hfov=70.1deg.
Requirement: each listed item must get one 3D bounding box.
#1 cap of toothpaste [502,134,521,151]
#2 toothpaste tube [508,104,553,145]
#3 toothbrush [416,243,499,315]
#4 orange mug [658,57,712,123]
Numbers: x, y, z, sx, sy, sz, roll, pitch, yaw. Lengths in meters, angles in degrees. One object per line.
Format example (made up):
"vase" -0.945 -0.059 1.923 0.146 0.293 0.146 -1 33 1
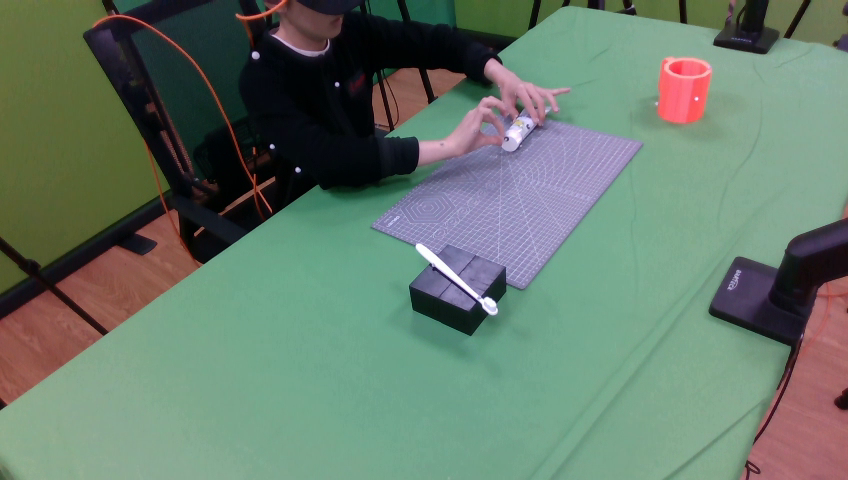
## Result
"cap of toothpaste" 0.168 -0.188 1.152 0.037 0.037 0.011 11 44 20
"toothpaste tube" 0.207 -0.233 1.205 0.055 0.034 0.165 17 44 21
"toothbrush" 0.043 0.049 0.842 0.014 0.017 0.180 -31 45 -21
"orange mug" 0.504 -0.304 1.193 0.083 0.101 0.125 -13 45 -5
